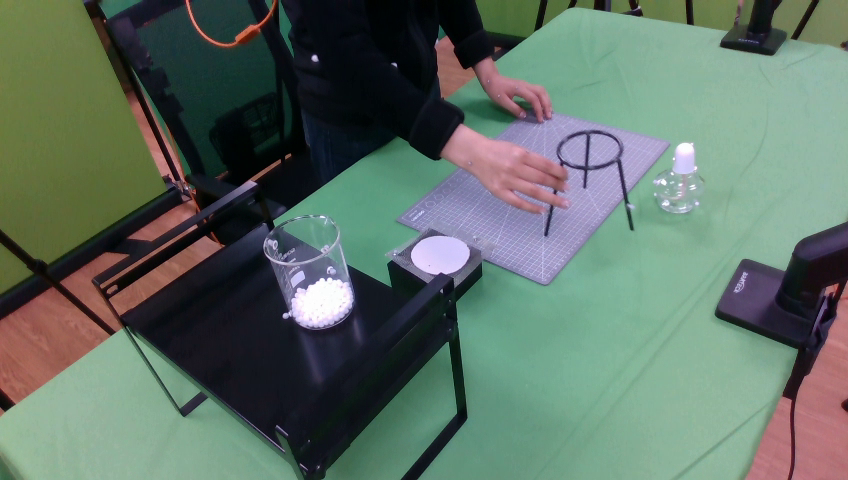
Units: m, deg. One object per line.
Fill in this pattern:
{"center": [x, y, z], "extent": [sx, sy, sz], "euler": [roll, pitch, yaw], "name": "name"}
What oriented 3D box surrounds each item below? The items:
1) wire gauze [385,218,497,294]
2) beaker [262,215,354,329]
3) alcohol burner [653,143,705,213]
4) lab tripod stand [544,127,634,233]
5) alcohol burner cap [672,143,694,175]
{"center": [0.025, 0.017, 0.886], "extent": [0.124, 0.011, 0.122], "euler": [28, 49, 33], "name": "wire gauze"}
{"center": [-0.112, 0.034, 0.616], "extent": [0.073, 0.101, 0.084], "euler": [13, 44, 22], "name": "beaker"}
{"center": [0.408, -0.102, 0.963], "extent": [0.078, 0.119, 0.077], "euler": [-6, 42, 6], "name": "alcohol burner"}
{"center": [0.237, -0.083, 0.882], "extent": [0.148, 0.132, 0.147], "euler": [-7, 45, 7], "name": "lab tripod stand"}
{"center": [0.404, -0.129, 0.941], "extent": [0.034, 0.048, 0.033], "euler": [-9, 40, 8], "name": "alcohol burner cap"}
